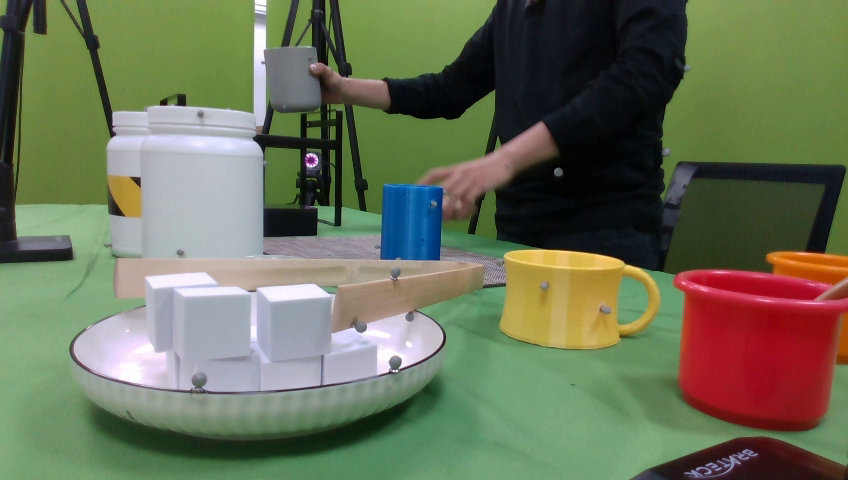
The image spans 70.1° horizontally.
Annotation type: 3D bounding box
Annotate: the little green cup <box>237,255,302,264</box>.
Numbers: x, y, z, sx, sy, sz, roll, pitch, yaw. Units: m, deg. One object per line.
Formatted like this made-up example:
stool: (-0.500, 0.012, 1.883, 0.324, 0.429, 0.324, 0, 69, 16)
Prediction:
little green cup: (-0.150, 0.038, 0.590, 0.061, 0.038, 0.061, 3, 6, 0)

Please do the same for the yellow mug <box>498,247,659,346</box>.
yellow mug: (0.130, 0.045, 0.508, 0.131, 0.064, 0.100, 4, 7, 5)

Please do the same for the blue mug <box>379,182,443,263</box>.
blue mug: (-0.020, -0.026, 0.833, 0.082, 0.106, 0.116, 1, 7, -7)

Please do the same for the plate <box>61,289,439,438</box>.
plate: (-0.095, 0.069, 0.362, 0.208, 0.039, 0.207, 3, 7, 0)

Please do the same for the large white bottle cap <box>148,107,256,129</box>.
large white bottle cap: (-0.250, -0.137, 0.686, 0.115, 0.018, 0.115, 2, 8, 0)

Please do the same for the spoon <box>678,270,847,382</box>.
spoon: (0.229, 0.031, 0.338, 0.193, 0.021, 0.042, -44, -17, 27)

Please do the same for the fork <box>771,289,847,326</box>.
fork: (0.335, 0.018, 0.443, 0.028, 0.018, 0.207, -2, -36, -20)

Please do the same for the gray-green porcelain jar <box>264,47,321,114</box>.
gray-green porcelain jar: (-0.270, -0.329, 1.253, 0.106, 0.126, 0.106, -4, 14, 1)

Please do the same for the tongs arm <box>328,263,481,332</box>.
tongs arm: (-0.003, 0.036, 0.492, 0.050, 0.026, 0.386, 1, -1, 19)

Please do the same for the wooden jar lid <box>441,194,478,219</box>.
wooden jar lid: (0.036, -0.057, 1.016, 0.108, 0.020, 0.108, 10, 17, -3)

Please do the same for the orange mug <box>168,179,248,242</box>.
orange mug: (-0.351, -0.050, 0.986, 0.126, 0.101, 0.083, -3, 8, -9)

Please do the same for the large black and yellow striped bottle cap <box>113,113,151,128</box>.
large black and yellow striped bottle cap: (-0.348, -0.154, 0.800, 0.115, 0.019, 0.115, 2, 6, 0)

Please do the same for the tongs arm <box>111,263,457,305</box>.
tongs arm: (-0.080, 0.033, 0.527, 0.028, 0.027, 0.389, -4, -4, 33)

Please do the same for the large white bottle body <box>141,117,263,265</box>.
large white bottle body: (-0.254, -0.054, 0.697, 0.131, 0.184, 0.130, 2, 7, 0)

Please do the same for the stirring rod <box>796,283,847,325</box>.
stirring rod: (0.347, 0.019, 0.460, 0.014, 0.176, 0.006, -17, 59, -26)

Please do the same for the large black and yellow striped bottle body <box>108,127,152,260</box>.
large black and yellow striped bottle body: (-0.350, -0.071, 0.812, 0.131, 0.184, 0.130, 2, 7, 0)
